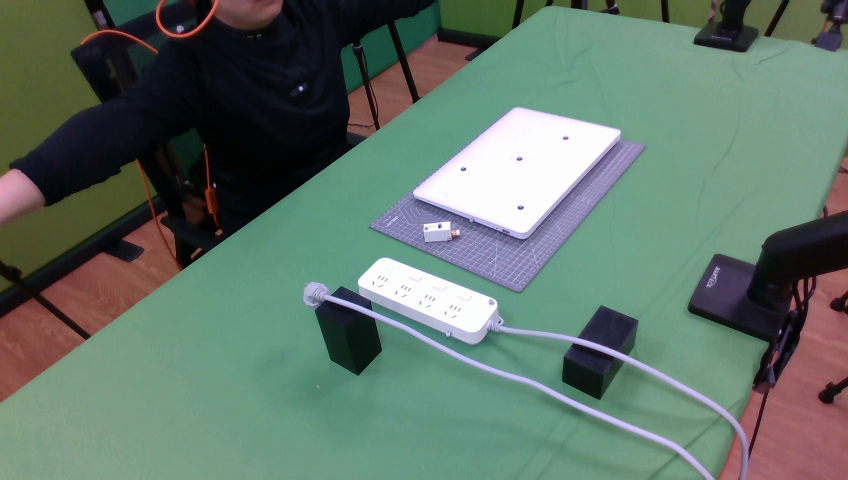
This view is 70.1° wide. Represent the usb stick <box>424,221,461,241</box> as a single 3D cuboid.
[{"bbox_3d":[0.029,-0.014,0.973,0.059,0.027,0.021,-2,42,1],"label":"usb stick"}]

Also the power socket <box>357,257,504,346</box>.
[{"bbox_3d":[0.002,0.084,0.862,0.225,0.033,0.072,20,49,28],"label":"power socket"}]

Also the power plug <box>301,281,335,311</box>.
[{"bbox_3d":[-0.134,0.081,0.783,0.035,0.053,0.072,-43,47,-7],"label":"power plug"}]

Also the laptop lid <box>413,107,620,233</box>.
[{"bbox_3d":[0.173,-0.144,1.095,0.239,0.013,0.358,23,49,33],"label":"laptop lid"}]

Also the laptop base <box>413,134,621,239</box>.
[{"bbox_3d":[0.176,-0.134,1.101,0.233,0.023,0.355,21,48,33],"label":"laptop base"}]
